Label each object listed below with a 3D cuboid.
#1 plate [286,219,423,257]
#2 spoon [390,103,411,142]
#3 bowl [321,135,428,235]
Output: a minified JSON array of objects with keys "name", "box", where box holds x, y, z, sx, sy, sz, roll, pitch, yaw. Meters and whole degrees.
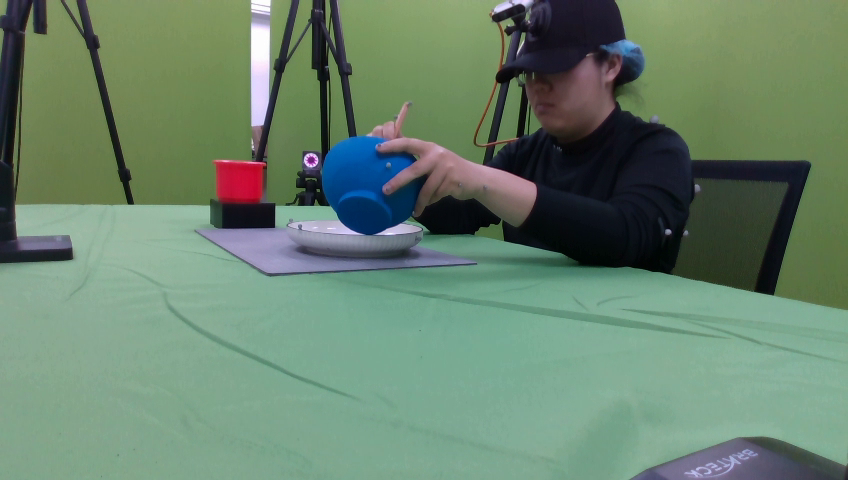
[{"name":"plate","box":[-0.105,-0.003,0.922,0.208,0.039,0.207,3,7,0]},{"name":"spoon","box":[-0.060,-0.136,0.918,0.022,0.194,0.041,38,-29,-19]},{"name":"bowl","box":[-0.075,-0.059,0.822,0.151,0.151,0.077,3,48,9]}]
